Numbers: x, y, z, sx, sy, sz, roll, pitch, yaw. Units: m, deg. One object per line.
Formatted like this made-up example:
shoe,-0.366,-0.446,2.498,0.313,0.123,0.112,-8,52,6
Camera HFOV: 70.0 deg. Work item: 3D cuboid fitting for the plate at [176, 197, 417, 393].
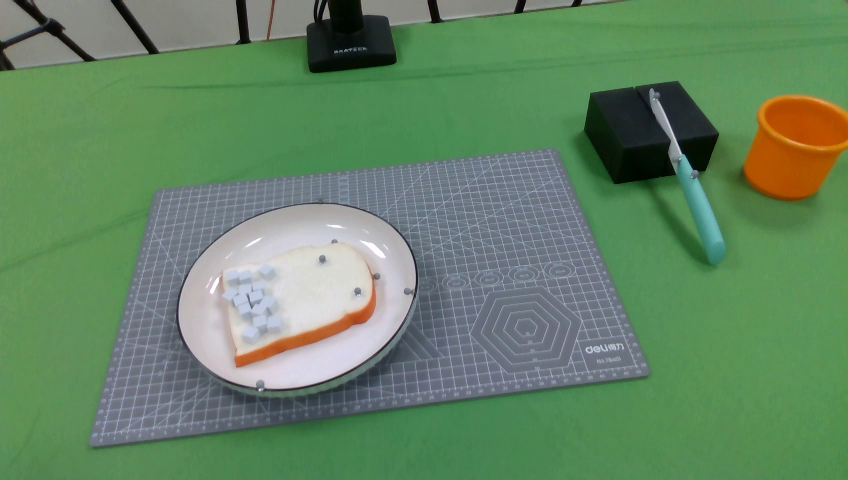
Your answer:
plate,-0.109,0.046,0.539,0.209,0.038,0.207,-1,48,1

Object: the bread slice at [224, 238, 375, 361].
bread slice,-0.112,0.043,0.544,0.132,0.019,0.103,-18,50,-11

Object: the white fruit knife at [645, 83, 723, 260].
white fruit knife,0.255,-0.078,0.606,0.016,0.027,0.205,-8,63,-4
